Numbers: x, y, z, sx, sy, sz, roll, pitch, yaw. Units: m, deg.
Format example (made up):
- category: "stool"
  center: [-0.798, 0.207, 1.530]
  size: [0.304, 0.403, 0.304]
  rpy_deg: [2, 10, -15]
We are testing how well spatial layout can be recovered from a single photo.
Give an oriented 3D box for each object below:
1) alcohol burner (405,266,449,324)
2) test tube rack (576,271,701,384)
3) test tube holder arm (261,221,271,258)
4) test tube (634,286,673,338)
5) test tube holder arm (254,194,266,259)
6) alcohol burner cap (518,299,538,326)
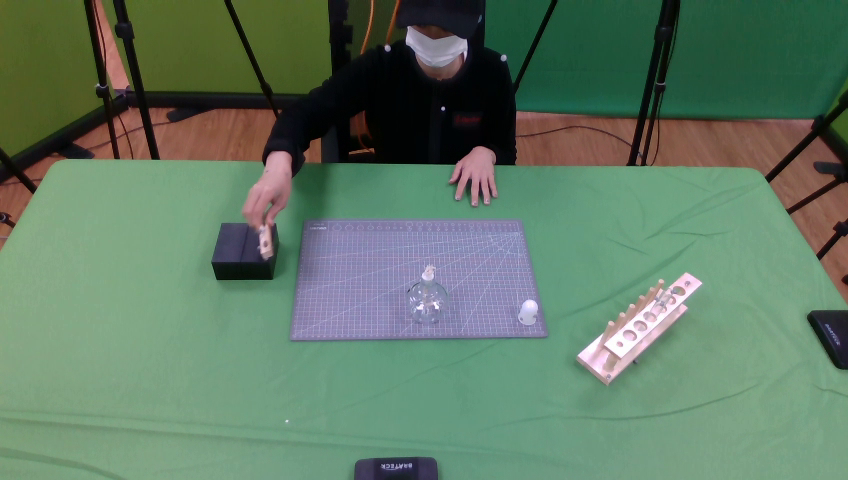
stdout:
- category: "alcohol burner"
  center: [0.005, 0.089, 1.043]
  size: [0.078, 0.120, 0.077]
  rpy_deg: [1, 45, -1]
- category: "test tube rack"
  center: [0.373, 0.138, 1.047]
  size: [0.242, 0.085, 0.066]
  rpy_deg: [-31, 56, -29]
- category: "test tube holder arm"
  center: [-0.272, -0.002, 1.041]
  size: [0.010, 0.015, 0.087]
  rpy_deg: [-13, 41, -11]
- category: "test tube"
  center: [0.374, 0.123, 0.993]
  size: [0.017, 0.151, 0.017]
  rpy_deg: [2, 52, -2]
- category: "test tube holder arm"
  center: [-0.291, -0.028, 1.073]
  size: [0.013, 0.015, 0.177]
  rpy_deg: [-13, 41, -12]
- category: "alcohol burner cap"
  center: [0.186, 0.126, 1.072]
  size: [0.034, 0.048, 0.033]
  rpy_deg: [1, 45, -1]
